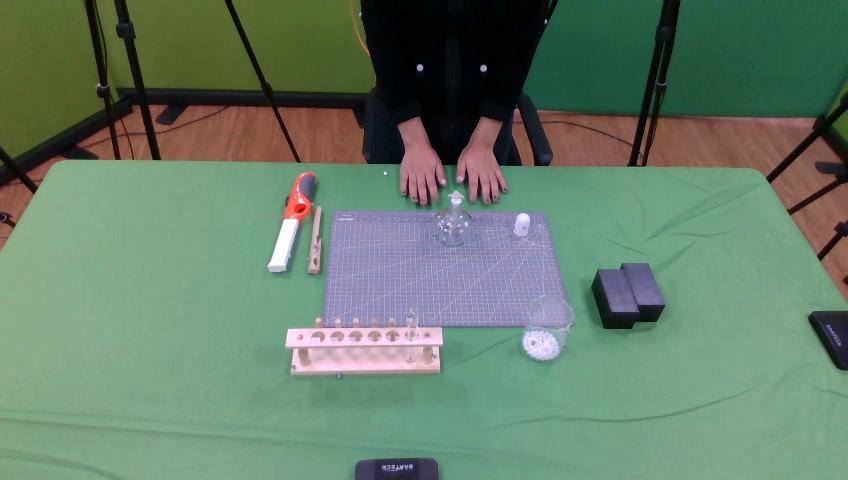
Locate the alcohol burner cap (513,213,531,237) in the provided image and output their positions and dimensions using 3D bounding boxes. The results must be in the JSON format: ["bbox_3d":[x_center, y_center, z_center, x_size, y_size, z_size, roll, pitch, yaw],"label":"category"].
[{"bbox_3d":[0.200,-0.034,1.227,0.034,0.048,0.033,1,46,-1],"label":"alcohol burner cap"}]

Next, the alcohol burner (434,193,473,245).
[{"bbox_3d":[0.059,-0.047,1.180,0.078,0.120,0.077,1,48,-1],"label":"alcohol burner"}]

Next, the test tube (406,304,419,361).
[{"bbox_3d":[-0.019,0.147,0.942,0.017,0.151,0.017,2,50,-2],"label":"test tube"}]

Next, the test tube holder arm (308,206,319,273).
[{"bbox_3d":[-0.216,-0.005,1.189,0.013,0.015,0.177,24,38,-29],"label":"test tube holder arm"}]

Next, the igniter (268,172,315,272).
[{"bbox_3d":[-0.264,-0.045,1.219,0.057,0.025,0.275,-2,45,8],"label":"igniter"}]

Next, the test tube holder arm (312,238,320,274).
[{"bbox_3d":[-0.207,0.029,1.160,0.010,0.015,0.087,25,38,-29],"label":"test tube holder arm"}]

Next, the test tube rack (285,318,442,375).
[{"bbox_3d":[-0.095,0.168,0.986,0.242,0.085,0.066,0,46,-4],"label":"test tube rack"}]

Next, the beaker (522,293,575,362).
[{"bbox_3d":[0.203,0.151,1.014,0.084,0.101,0.073,-28,53,-26],"label":"beaker"}]
